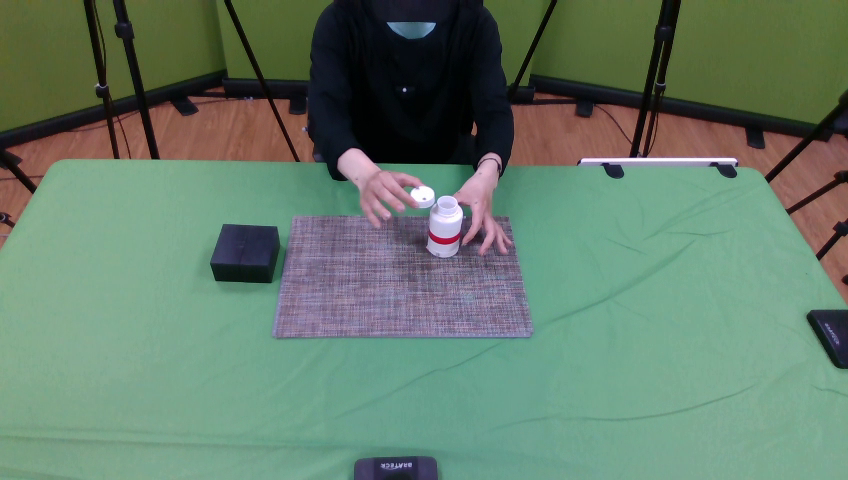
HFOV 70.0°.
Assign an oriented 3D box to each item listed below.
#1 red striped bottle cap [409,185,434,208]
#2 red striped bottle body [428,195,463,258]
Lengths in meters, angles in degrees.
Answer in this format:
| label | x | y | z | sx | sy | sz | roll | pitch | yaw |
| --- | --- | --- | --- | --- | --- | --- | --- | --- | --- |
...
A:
| label | x | y | z | sx | sy | sz | roll | pitch | yaw |
| --- | --- | --- | --- | --- | --- | --- | --- | --- | --- |
| red striped bottle cap | -0.004 | -0.079 | 1.089 | 0.044 | 0.018 | 0.044 | -6 | 46 | 6 |
| red striped bottle body | 0.041 | -0.028 | 1.151 | 0.063 | 0.120 | 0.062 | 1 | 46 | -1 |
